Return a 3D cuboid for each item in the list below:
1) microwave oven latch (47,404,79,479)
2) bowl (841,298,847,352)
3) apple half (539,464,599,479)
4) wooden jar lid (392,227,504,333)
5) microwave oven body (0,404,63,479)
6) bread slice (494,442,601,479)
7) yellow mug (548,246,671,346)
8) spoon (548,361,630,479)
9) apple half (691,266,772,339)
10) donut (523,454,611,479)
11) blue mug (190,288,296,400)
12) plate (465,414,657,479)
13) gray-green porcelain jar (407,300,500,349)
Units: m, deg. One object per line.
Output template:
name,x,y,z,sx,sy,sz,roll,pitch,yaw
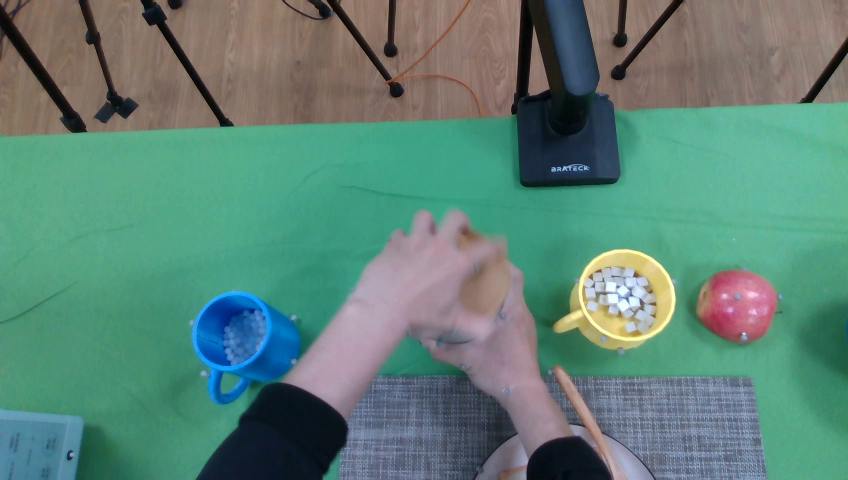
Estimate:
microwave oven latch,-0.404,0.222,0.661,0.030,0.030,0.078,6,74,6
bowl,0.499,0.098,0.626,0.151,0.077,0.150,-1,73,5
apple half,0.134,0.249,0.558,0.081,0.033,0.080,-4,69,10
wooden jar lid,0.024,0.039,0.590,0.108,0.021,0.107,-2,67,4
microwave oven body,-0.560,0.363,0.528,0.326,0.262,0.439,-1,73,4
bread slice,0.143,0.283,0.614,0.107,0.018,0.133,-18,73,0
yellow mug,0.197,0.069,0.666,0.131,0.064,0.099,-24,72,-2
spoon,0.179,0.210,0.617,0.041,0.022,0.193,-26,81,-6
apple half,0.340,0.063,0.663,0.074,0.054,0.080,21,75,13
donut,0.141,0.260,0.591,0.099,0.048,0.098,-1,73,5
blue mug,-0.201,0.119,0.661,0.082,0.106,0.116,19,75,11
plate,0.138,0.285,0.614,0.207,0.039,0.206,-1,73,4
gray-green porcelain jar,0.029,0.059,0.651,0.106,0.127,0.105,-1,71,4
